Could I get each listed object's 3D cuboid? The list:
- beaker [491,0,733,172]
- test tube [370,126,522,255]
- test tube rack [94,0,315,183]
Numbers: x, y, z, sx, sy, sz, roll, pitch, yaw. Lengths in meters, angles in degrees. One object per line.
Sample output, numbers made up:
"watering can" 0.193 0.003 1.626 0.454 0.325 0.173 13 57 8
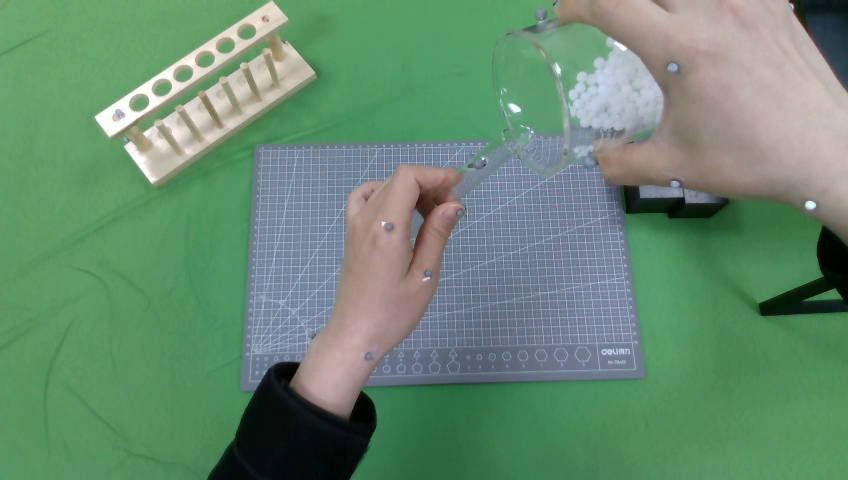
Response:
"beaker" 0.095 -0.085 0.310 0.100 0.084 0.073 -21 78 -11
"test tube" 0.007 -0.026 0.390 0.017 0.150 0.017 20 53 -29
"test tube rack" -0.254 -0.178 0.728 0.242 0.085 0.066 -38 77 -11
